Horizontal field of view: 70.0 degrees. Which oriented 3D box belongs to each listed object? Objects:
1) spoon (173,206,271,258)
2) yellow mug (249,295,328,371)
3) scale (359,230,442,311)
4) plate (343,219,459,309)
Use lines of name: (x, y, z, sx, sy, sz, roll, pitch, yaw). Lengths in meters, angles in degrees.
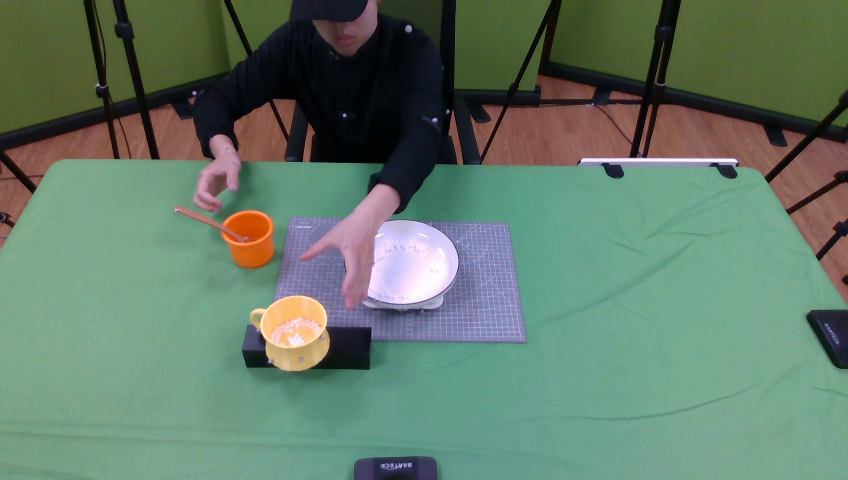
spoon: (-0.362, -0.017, 1.097, 0.021, 0.195, 0.041, -31, 43, 28)
yellow mug: (-0.216, 0.139, 0.946, 0.130, 0.064, 0.099, 17, 47, 12)
scale: (-0.043, 0.047, 1.137, 0.149, 0.032, 0.199, 2, 46, -3)
plate: (-0.041, 0.045, 1.094, 0.209, 0.038, 0.208, 2, 46, -2)
